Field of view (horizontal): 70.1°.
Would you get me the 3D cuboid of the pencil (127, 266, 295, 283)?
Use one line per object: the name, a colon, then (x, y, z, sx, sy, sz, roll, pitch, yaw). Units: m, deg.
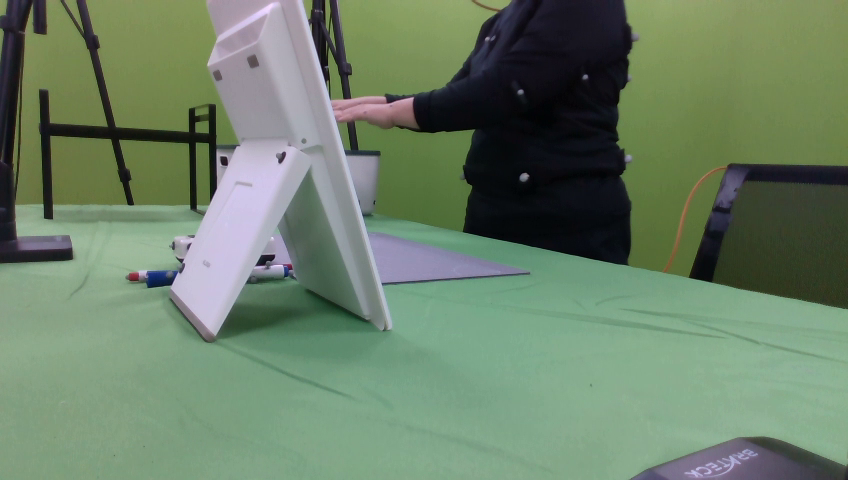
pencil: (-0.231, 0.037, 0.690, 0.195, 0.012, 0.012, -2, 9, -34)

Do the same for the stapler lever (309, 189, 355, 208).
stapler lever: (-0.228, -0.104, 1.507, 0.119, 0.040, 0.026, 3, 17, -35)

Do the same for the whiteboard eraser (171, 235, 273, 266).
whiteboard eraser: (-0.248, 0.014, 0.747, 0.113, 0.042, 0.055, -1, 10, -32)

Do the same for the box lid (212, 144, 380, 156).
box lid: (-0.326, -0.227, 1.532, 0.373, 0.015, 0.262, -2, 8, -32)

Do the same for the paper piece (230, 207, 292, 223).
paper piece: (-0.395, -0.062, 1.461, 0.139, 0.008, 0.135, 13, -4, -22)

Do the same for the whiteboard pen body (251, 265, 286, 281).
whiteboard pen body: (-0.220, 0.039, 0.656, 0.141, 0.017, 0.017, -2, 9, -30)

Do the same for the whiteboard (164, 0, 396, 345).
whiteboard: (-0.172, -0.053, 0.511, 0.144, 0.305, 0.216, -23, 20, -26)

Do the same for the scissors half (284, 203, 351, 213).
scissors half: (-0.268, -0.079, 1.535, 0.176, 0.013, 0.040, -7, 12, -23)

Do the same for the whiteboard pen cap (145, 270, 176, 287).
whiteboard pen cap: (-0.271, 0.039, 0.627, 0.033, 0.018, 0.018, -3, 10, -32)

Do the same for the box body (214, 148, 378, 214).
box body: (-0.328, -0.154, 1.543, 0.366, 0.160, 0.253, -2, 9, -32)

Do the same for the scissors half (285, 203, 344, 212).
scissors half: (-0.280, -0.081, 1.552, 0.040, 0.013, 0.176, 1, 9, 45)

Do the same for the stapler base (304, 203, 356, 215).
stapler base: (-0.234, -0.081, 1.511, 0.131, 0.024, 0.041, 5, 16, -35)
